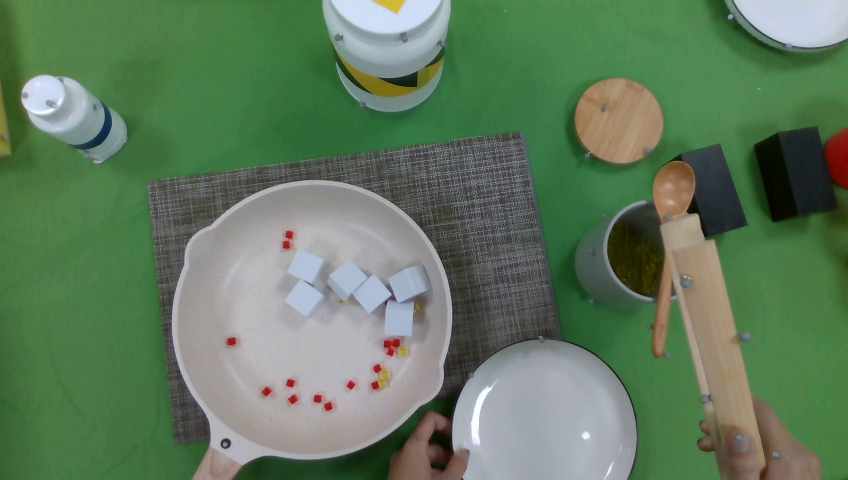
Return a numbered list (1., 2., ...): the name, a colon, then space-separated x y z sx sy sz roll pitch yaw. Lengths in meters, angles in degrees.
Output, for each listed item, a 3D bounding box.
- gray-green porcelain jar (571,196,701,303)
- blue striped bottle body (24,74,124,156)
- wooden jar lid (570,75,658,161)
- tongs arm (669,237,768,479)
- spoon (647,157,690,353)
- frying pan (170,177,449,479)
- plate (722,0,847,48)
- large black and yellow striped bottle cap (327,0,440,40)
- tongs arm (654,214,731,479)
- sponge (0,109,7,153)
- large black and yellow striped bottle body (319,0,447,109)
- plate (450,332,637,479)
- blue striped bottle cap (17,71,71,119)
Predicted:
1. gray-green porcelain jar: 0.225 0.015 0.669 0.106 0.127 0.105 0 82 -3
2. blue striped bottle body: -0.384 -0.138 0.660 0.063 0.121 0.063 0 82 -2
3. wooden jar lid: 0.232 -0.149 0.744 0.108 0.021 0.108 0 84 -3
4. tongs arm: 0.234 0.159 0.453 0.026 0.050 0.387 -19 111 11
5. spoon: 0.235 0.015 0.599 0.042 0.021 0.193 7 86 -6
6. frying pan: -0.173 0.164 0.637 0.306 0.103 0.486 32 74 3
7. plate: 0.468 -0.340 0.771 0.209 0.038 0.208 0 82 -2
8. large black and yellow striped bottle cap: -0.039 -0.249 0.577 0.115 0.019 0.114 0 84 -3
9. tongs arm: 0.235 0.148 0.474 0.028 0.028 0.390 -21 115 7
10. sponge: -0.568 -0.194 0.688 0.118 0.061 0.206 -14 84 -5
11. large black and yellow striped bottle body: -0.043 -0.235 0.660 0.131 0.184 0.130 0 81 -3
12. plate: 0.131 0.207 0.681 0.208 0.039 0.207 0 84 -3
13. blue striped bottle cap: -0.383 -0.146 0.610 0.044 0.020 0.044 0 84 -3
